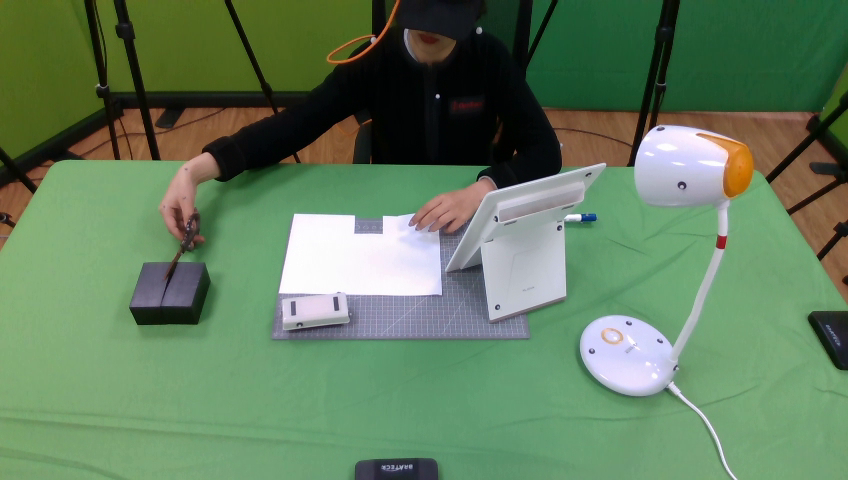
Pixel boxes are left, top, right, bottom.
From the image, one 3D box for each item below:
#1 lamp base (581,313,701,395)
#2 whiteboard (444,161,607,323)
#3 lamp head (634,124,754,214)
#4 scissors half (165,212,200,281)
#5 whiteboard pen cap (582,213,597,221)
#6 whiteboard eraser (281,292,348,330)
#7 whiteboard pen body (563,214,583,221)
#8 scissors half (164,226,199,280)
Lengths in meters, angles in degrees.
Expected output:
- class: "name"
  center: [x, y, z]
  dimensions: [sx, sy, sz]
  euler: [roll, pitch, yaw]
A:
- class: "lamp base"
  center: [0.361, 0.144, 0.972]
  dimensions: [0.178, 0.181, 0.160]
  euler: [34, 53, 23]
- class: "whiteboard"
  center: [0.186, 0.025, 1.029]
  dimensions: [0.217, 0.306, 0.143]
  euler: [-14, 68, -18]
- class: "lamp head"
  center: [0.351, -0.089, 0.776]
  dimensions: [0.112, 0.113, 0.122]
  euler: [-30, 30, -28]
- class: "scissors half"
  center: [-0.435, 0.010, 1.093]
  dimensions: [0.013, 0.040, 0.174]
  euler: [16, 44, -11]
- class: "whiteboard pen cap"
  center: [0.342, -0.048, 1.260]
  dimensions: [0.033, 0.018, 0.018]
  euler: [-3, 46, -3]
- class: "whiteboard eraser"
  center: [-0.189, 0.124, 1.045]
  dimensions: [0.113, 0.042, 0.055]
  euler: [-6, 46, -10]
- class: "whiteboard pen body"
  center: [0.283, -0.047, 1.257]
  dimensions: [0.141, 0.017, 0.017]
  euler: [-1, 46, -2]
- class: "scissors half"
  center: [-0.441, 0.025, 1.105]
  dimensions: [0.013, 0.040, 0.174]
  euler: [11, 27, -8]
